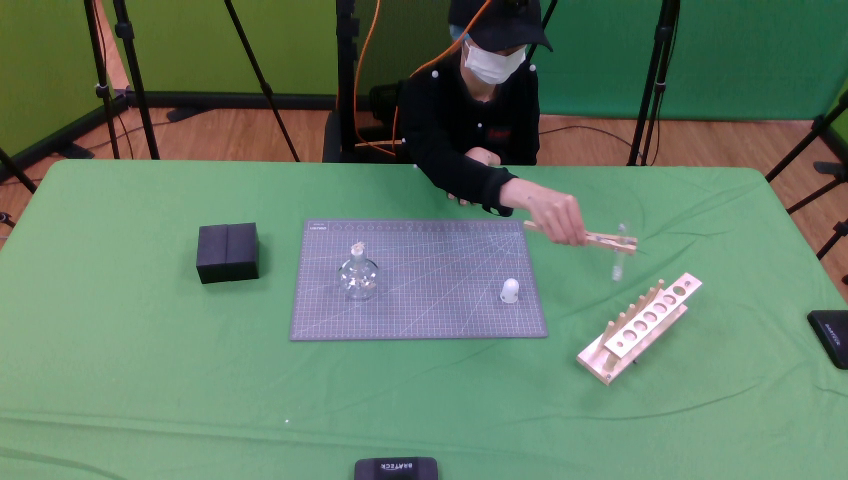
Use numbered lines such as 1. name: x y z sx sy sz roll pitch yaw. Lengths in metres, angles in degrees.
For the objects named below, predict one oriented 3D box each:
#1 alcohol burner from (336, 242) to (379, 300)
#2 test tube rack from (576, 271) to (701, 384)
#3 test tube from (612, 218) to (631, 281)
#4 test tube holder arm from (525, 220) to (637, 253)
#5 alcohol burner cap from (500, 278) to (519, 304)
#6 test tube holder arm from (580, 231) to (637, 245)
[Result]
1. alcohol burner: -0.118 0.050 1.072 0.078 0.120 0.077 1 44 -1
2. test tube rack: 0.373 0.138 1.047 0.242 0.085 0.066 -31 56 -29
3. test tube: 0.315 0.018 0.969 0.017 0.151 0.017 -5 51 7
4. test tube holder arm: 0.249 -0.007 0.973 0.178 0.015 0.013 13 54 20
5. alcohol burner cap: 0.157 0.090 1.104 0.034 0.048 0.033 2 46 -2
6. test tube holder arm: 0.292 -0.003 0.962 0.087 0.015 0.010 7 52 15
